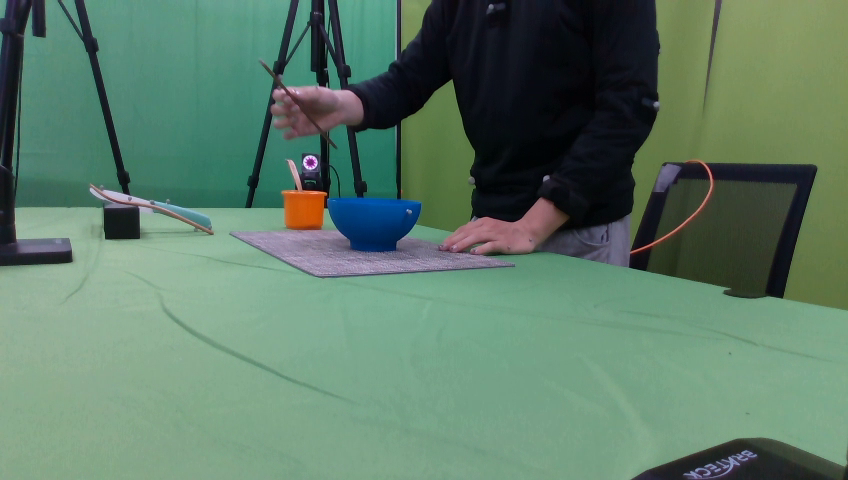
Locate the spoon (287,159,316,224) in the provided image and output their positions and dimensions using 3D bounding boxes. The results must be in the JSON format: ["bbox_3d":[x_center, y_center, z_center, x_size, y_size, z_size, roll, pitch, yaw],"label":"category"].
[{"bbox_3d":[-0.261,-0.104,1.264,0.042,0.193,0.021,-1,-37,-28],"label":"spoon"}]

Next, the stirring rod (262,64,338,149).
[{"bbox_3d":[-0.193,-0.207,0.955,0.177,0.006,0.014,49,-9,-36],"label":"stirring rod"}]

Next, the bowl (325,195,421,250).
[{"bbox_3d":[-0.081,-0.027,0.957,0.151,0.077,0.151,2,7,0],"label":"bowl"}]

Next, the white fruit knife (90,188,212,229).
[{"bbox_3d":[-0.478,-0.058,1.073,0.208,0.027,0.016,17,-4,-30],"label":"white fruit knife"}]

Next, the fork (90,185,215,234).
[{"bbox_3d":[-0.452,-0.049,1.018,0.208,0.018,0.028,21,-7,-33],"label":"fork"}]
